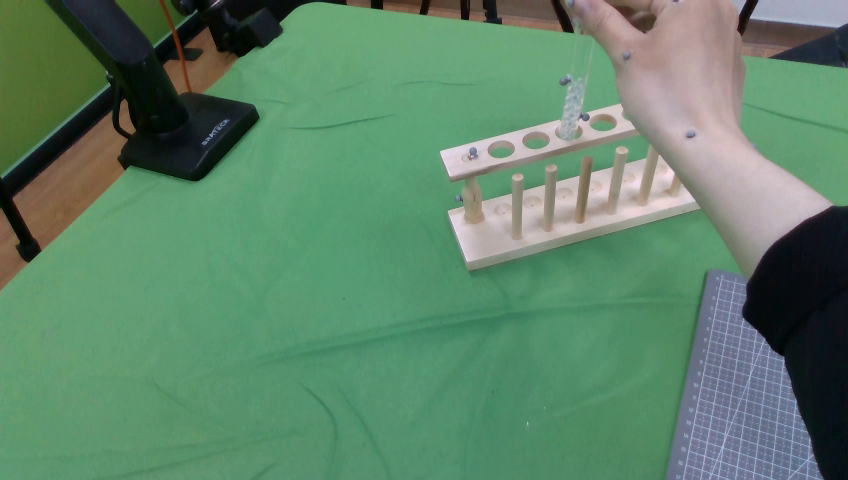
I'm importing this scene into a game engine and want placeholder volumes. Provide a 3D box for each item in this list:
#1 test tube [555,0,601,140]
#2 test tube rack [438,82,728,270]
[{"bbox_3d":[0.113,-0.128,0.446,0.017,0.152,0.017,-2,54,2],"label":"test tube"},{"bbox_3d":[0.140,-0.055,0.521,0.242,0.086,0.066,-15,49,-4],"label":"test tube rack"}]
